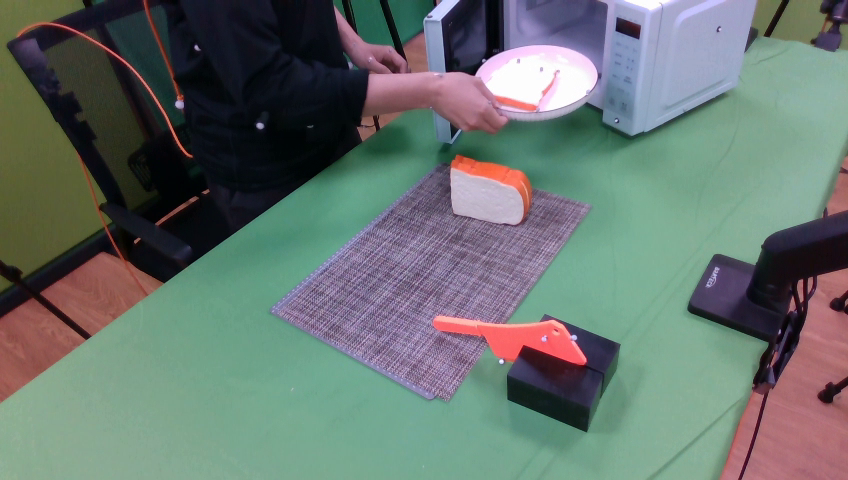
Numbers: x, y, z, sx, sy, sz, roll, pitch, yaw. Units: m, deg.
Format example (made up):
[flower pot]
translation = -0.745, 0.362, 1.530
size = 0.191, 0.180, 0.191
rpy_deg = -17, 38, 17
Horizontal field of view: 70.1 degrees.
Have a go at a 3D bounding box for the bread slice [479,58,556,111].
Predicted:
[bread slice]
translation = 0.166, -0.271, 1.039
size = 0.106, 0.018, 0.134
rpy_deg = 17, 51, 20

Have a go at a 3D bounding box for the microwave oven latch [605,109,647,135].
[microwave oven latch]
translation = 0.379, -0.225, 1.139
size = 0.030, 0.029, 0.078
rpy_deg = -26, 43, -20

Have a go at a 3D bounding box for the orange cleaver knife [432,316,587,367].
[orange cleaver knife]
translation = 0.101, 0.127, 0.761
size = 0.210, 0.077, 0.012
rpy_deg = -1, 34, 40

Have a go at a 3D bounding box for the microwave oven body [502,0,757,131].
[microwave oven body]
translation = 0.396, -0.448, 1.248
size = 0.327, 0.261, 0.437
rpy_deg = -27, 44, -21

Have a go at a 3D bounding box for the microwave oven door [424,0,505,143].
[microwave oven door]
translation = 0.093, -0.392, 1.218
size = 0.039, 0.245, 0.356
rpy_deg = 11, 44, 21

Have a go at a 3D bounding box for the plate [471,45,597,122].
[plate]
translation = 0.185, -0.261, 1.029
size = 0.207, 0.039, 0.206
rpy_deg = -5, 46, 5
